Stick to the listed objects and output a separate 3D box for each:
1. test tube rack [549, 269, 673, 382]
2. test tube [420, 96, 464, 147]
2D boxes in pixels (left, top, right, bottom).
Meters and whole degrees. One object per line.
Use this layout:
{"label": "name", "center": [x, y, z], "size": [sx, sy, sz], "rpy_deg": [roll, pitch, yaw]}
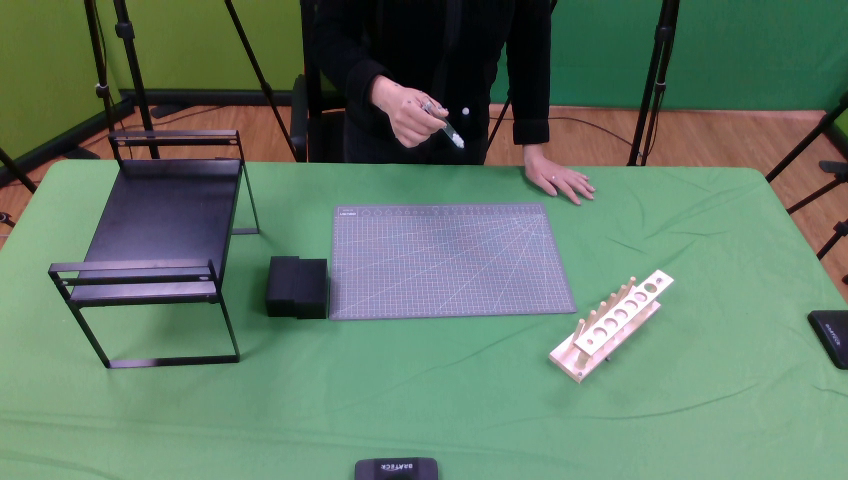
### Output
{"label": "test tube rack", "center": [0.325, 0.134, 1.047], "size": [0.242, 0.085, 0.066], "rpy_deg": [-32, 55, -30]}
{"label": "test tube", "center": [0.033, -0.195, 1.013], "size": [0.017, 0.151, 0.017], "rpy_deg": [-11, 65, 25]}
